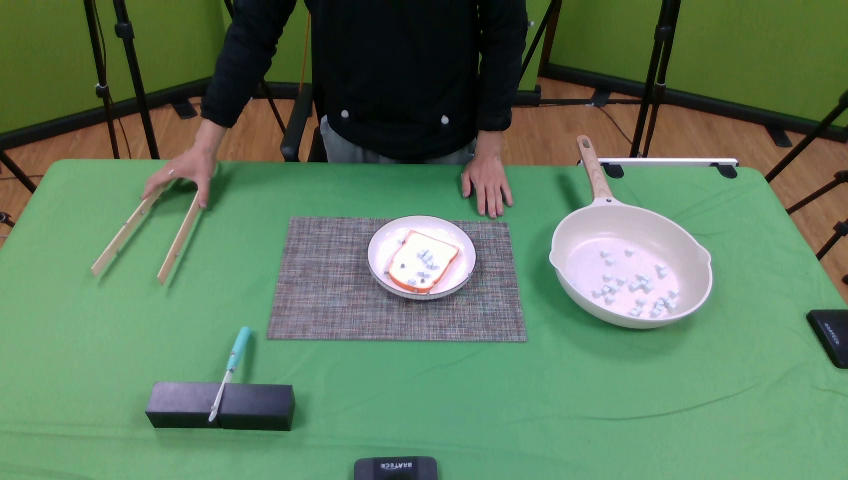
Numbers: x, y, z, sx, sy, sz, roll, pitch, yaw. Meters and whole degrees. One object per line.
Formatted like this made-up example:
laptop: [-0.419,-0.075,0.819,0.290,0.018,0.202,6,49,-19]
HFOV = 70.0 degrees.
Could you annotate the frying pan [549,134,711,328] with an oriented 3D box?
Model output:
frying pan: [0.372,-0.035,1.203,0.307,0.103,0.484,-1,55,-6]

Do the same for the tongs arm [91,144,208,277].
tongs arm: [-0.535,-0.071,1.209,0.051,0.026,0.382,8,46,6]

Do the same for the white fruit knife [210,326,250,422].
white fruit knife: [-0.301,0.201,0.942,0.016,0.027,0.206,1,32,-1]

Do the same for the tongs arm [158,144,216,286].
tongs arm: [-0.467,-0.063,1.206,0.028,0.028,0.385,-1,46,2]

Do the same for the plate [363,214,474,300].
plate: [-0.010,0.036,1.146,0.208,0.039,0.206,2,46,-2]

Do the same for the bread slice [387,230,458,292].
bread slice: [-0.007,0.043,1.142,0.107,0.018,0.134,18,46,14]
